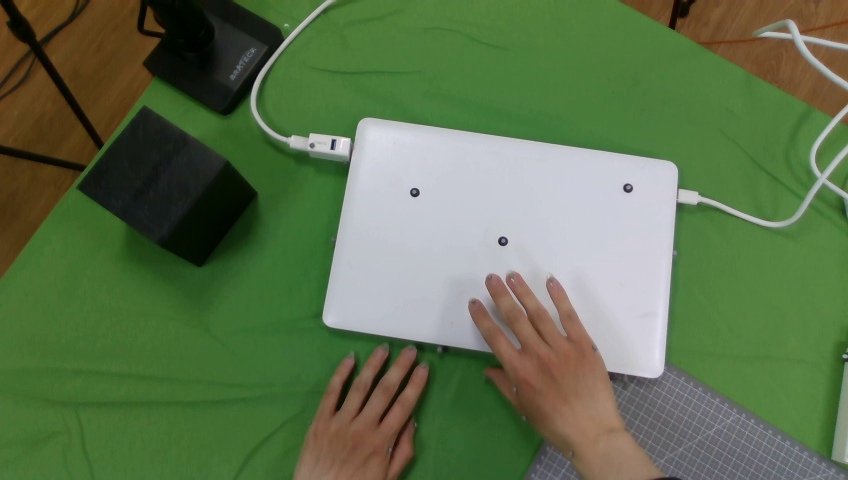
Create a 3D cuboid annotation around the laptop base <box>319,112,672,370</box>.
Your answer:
[{"bbox_3d":[0.081,-0.003,0.649,0.354,0.023,0.234,8,80,2],"label":"laptop base"}]

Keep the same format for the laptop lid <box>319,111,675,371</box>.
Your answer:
[{"bbox_3d":[0.080,-0.004,0.637,0.357,0.013,0.241,10,80,2],"label":"laptop lid"}]

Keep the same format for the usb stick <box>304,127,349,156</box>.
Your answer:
[{"bbox_3d":[-0.098,-0.106,0.656,0.059,0.027,0.021,8,79,-5],"label":"usb stick"}]

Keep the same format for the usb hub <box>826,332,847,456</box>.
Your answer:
[{"bbox_3d":[0.446,0.159,0.614,0.049,0.025,0.124,16,78,4],"label":"usb hub"}]
